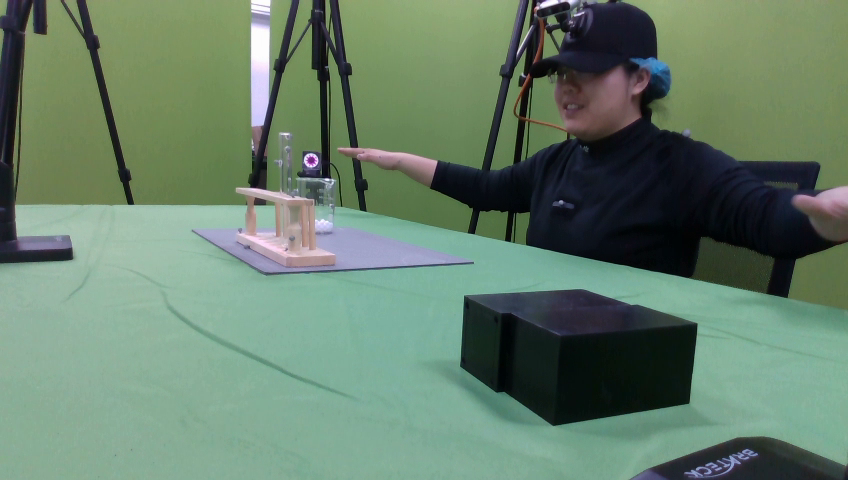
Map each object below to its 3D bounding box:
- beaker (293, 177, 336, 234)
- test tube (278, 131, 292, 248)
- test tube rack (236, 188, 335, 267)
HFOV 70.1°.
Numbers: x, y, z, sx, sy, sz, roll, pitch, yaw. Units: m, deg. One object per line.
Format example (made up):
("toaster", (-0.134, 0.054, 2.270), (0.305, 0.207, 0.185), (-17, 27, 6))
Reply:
("beaker", (-0.197, -0.063, 1.107), (0.083, 0.100, 0.074), (10, 11, 40))
("test tube", (-0.178, -0.063, 0.776), (0.017, 0.150, 0.017), (2, 11, 0))
("test tube rack", (-0.202, -0.025, 0.855), (0.067, 0.085, 0.241), (-2, 9, -31))
